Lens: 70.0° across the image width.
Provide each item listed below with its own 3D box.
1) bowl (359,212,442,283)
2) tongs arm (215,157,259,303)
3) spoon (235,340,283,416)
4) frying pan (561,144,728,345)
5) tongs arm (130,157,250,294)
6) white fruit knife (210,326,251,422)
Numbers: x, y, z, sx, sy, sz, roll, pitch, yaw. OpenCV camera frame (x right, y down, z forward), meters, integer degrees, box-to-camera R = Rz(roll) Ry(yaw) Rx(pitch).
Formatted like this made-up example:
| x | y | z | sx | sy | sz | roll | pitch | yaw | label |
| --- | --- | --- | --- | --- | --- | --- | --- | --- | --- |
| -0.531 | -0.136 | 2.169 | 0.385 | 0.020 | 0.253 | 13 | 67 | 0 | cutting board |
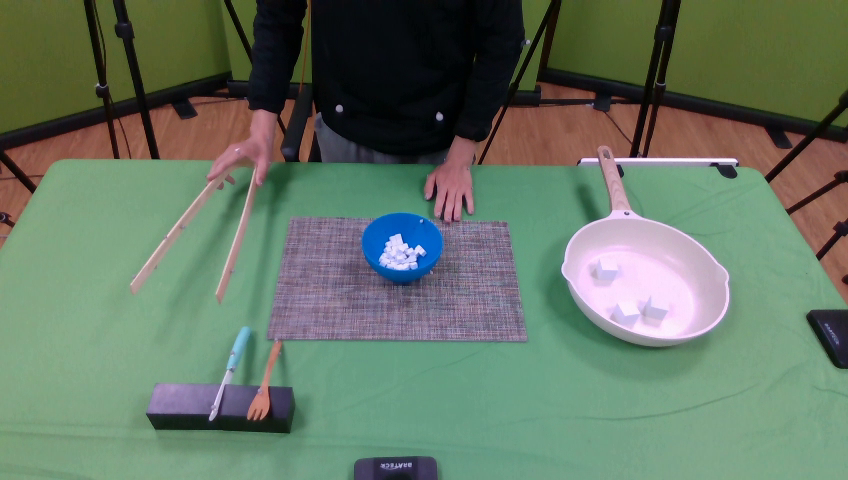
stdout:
| x | y | z | sx | sy | sz | roll | pitch | yaw | label |
| --- | --- | --- | --- | --- | --- | --- | --- | --- | --- |
| -0.044 | 0.026 | 1.125 | 0.151 | 0.077 | 0.150 | 2 | 46 | -2 | bowl |
| -0.343 | -0.034 | 1.117 | 0.028 | 0.028 | 0.385 | -4 | 42 | 0 | tongs arm |
| -0.244 | 0.207 | 0.932 | 0.042 | 0.022 | 0.193 | 28 | 25 | -8 | spoon |
| 0.397 | -0.008 | 1.179 | 0.307 | 0.103 | 0.485 | 2 | 55 | -4 | frying pan |
| -0.419 | -0.041 | 1.120 | 0.051 | 0.026 | 0.383 | 7 | 42 | 7 | tongs arm |
| -0.300 | 0.201 | 0.941 | 0.016 | 0.027 | 0.206 | -2 | 32 | 1 | white fruit knife |
